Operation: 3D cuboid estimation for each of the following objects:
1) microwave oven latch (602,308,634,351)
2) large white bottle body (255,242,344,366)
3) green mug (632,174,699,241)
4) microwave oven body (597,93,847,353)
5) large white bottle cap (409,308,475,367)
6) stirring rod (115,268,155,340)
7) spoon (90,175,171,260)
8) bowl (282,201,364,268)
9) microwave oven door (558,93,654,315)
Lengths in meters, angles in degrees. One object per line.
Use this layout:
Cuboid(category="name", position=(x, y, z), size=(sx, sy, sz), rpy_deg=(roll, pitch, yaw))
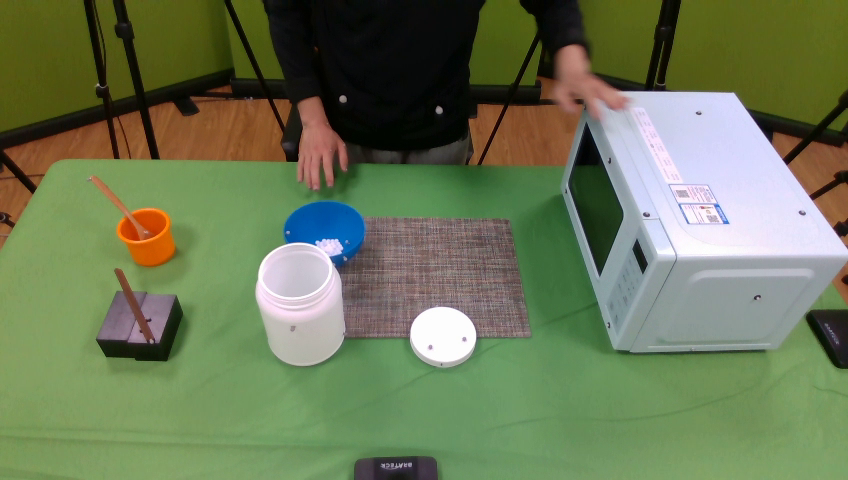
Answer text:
Cuboid(category="microwave oven latch", position=(0.332, 0.153, 1.044), size=(0.030, 0.029, 0.078), rpy_deg=(-1, 45, -4))
Cuboid(category="large white bottle body", position=(-0.196, 0.102, 0.967), size=(0.131, 0.185, 0.130), rpy_deg=(2, 49, -2))
Cuboid(category="green mug", position=(0.456, -0.056, 1.153), size=(0.125, 0.105, 0.092), rpy_deg=(-15, 45, -10))
Cuboid(category="microwave oven body", position=(0.475, -0.041, 1.110), size=(0.326, 0.261, 0.438), rpy_deg=(-1, 45, -4))
Cuboid(category="large white bottle cap", position=(0.031, 0.165, 1.041), size=(0.115, 0.018, 0.114), rpy_deg=(2, 46, -2))
Cuboid(category="stirring rod", position=(-0.478, 0.103, 0.999), size=(0.014, 0.006, 0.175), rpy_deg=(7, 32, -49))
Cuboid(category="spoon", position=(-0.539, -0.042, 1.111), size=(0.021, 0.194, 0.041), rpy_deg=(-13, 27, 52))
Cuboid(category="bowl", position=(-0.187, 0.005, 1.137), size=(0.151, 0.077, 0.150), rpy_deg=(3, 46, -3))
Cuboid(category="microwave oven door", position=(0.327, -0.074, 1.123), size=(0.039, 0.245, 0.353), rpy_deg=(-1, 46, -5))
